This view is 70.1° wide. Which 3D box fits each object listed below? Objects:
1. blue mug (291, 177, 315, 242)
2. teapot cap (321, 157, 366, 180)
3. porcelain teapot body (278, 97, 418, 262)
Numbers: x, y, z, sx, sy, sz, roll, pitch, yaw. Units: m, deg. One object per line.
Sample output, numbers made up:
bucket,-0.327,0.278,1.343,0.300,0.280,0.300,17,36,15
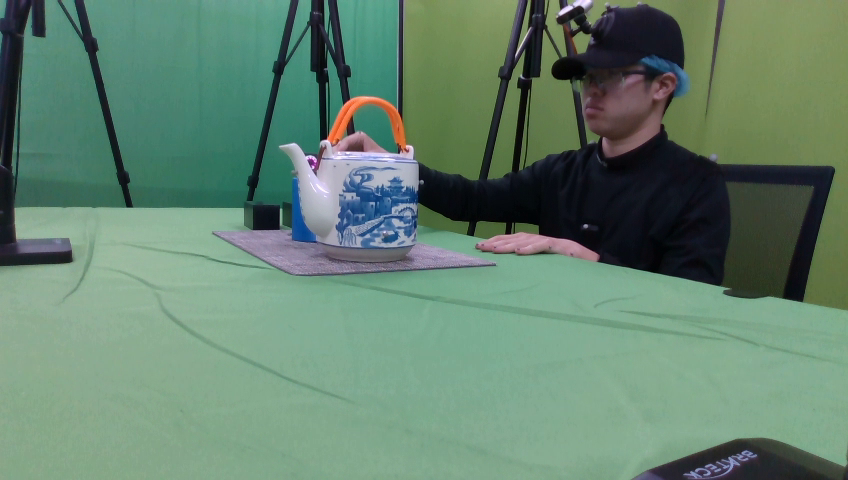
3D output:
blue mug,-0.170,-0.054,1.037,0.117,0.106,0.082,-2,9,-31
teapot cap,-0.150,-0.134,1.129,0.085,0.044,0.085,2,4,0
porcelain teapot body,-0.104,-0.086,0.842,0.206,0.225,0.144,-4,10,-38
